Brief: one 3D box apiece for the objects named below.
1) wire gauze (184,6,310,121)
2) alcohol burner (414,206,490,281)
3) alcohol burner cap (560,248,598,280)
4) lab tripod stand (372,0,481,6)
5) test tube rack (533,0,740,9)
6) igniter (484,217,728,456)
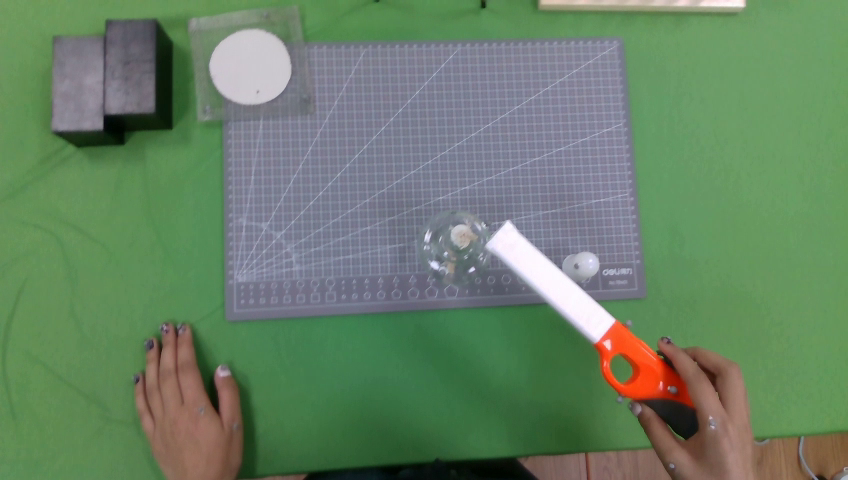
[{"bbox_3d":[-0.194,-0.192,0.660,0.125,0.011,0.121,-8,83,-5],"label":"wire gauze"},{"bbox_3d":[0.030,0.000,0.600,0.078,0.119,0.077,1,80,-5],"label":"alcohol burner"},{"bbox_3d":[0.167,0.024,0.643,0.034,0.048,0.033,0,81,-3],"label":"alcohol burner cap"},{"bbox_3d":[0.005,-0.319,0.631,0.148,0.132,0.148,0,81,-2],"label":"lab tripod stand"},{"bbox_3d":[0.249,-0.309,0.672,0.243,0.085,0.066,-2,83,-4],"label":"test tube rack"},{"bbox_3d":[0.162,0.085,0.530,0.276,0.025,0.057,43,83,-1],"label":"igniter"}]
